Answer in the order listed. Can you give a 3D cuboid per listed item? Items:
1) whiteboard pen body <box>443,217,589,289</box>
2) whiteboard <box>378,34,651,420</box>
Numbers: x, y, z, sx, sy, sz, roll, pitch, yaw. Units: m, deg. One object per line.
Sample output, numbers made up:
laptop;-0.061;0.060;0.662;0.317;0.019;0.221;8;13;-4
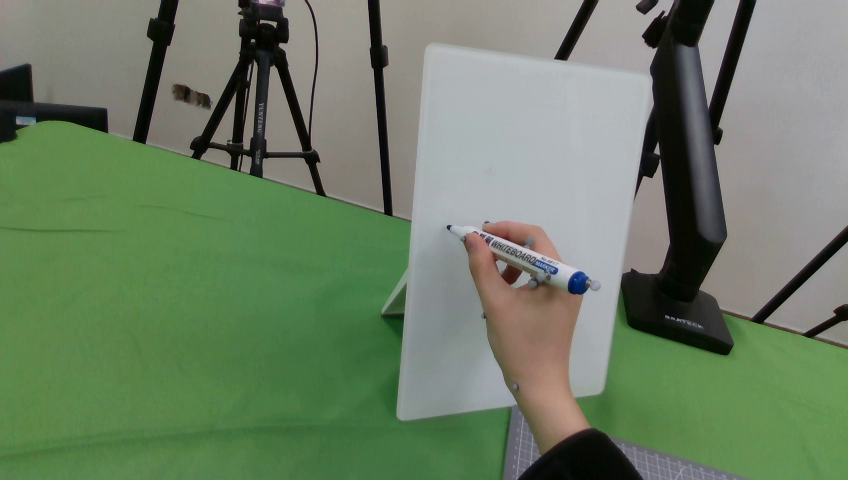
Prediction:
whiteboard pen body;0.056;0.004;0.421;0.017;0.017;0.139;-9;23;-35
whiteboard;0.061;-0.017;0.570;0.218;0.306;0.142;-1;14;-24
